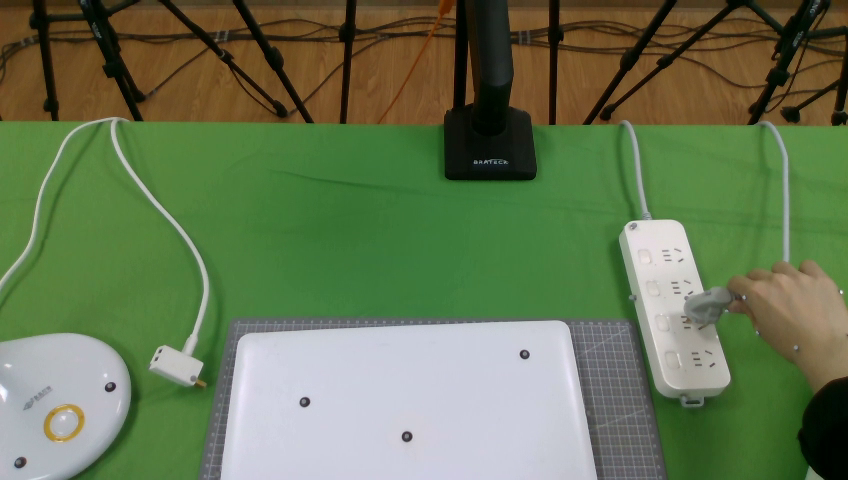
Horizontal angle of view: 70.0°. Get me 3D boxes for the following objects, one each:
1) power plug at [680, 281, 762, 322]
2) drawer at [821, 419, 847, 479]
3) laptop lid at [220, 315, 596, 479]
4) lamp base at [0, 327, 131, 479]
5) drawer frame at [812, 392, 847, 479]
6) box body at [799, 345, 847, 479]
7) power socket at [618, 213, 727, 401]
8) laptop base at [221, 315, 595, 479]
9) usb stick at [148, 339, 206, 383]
[{"bbox_3d":[0.303,0.068,0.625,0.072,0.053,0.035,11,50,9],"label":"power plug"},{"bbox_3d":[0.481,0.222,0.534,0.193,0.074,0.211,33,64,21],"label":"drawer"},{"bbox_3d":[-0.017,0.186,0.588,0.357,0.013,0.239,-1,60,-1],"label":"laptop lid"},{"bbox_3d":[-0.390,0.115,0.548,0.178,0.182,0.160,23,59,17],"label":"lamp base"},{"bbox_3d":[0.476,0.221,0.537,0.200,0.083,0.213,34,59,18],"label":"drawer frame"},{"bbox_3d":[0.459,0.242,0.485,0.253,0.162,0.363,29,62,17],"label":"box body"},{"bbox_3d":[0.271,0.064,0.674,0.072,0.033,0.224,0,57,-2],"label":"power socket"},{"bbox_3d":[-0.017,0.191,0.599,0.354,0.023,0.233,-2,61,-2],"label":"laptop base"},{"bbox_3d":[-0.248,0.127,0.621,0.021,0.060,0.027,-21,40,40],"label":"usb stick"}]
